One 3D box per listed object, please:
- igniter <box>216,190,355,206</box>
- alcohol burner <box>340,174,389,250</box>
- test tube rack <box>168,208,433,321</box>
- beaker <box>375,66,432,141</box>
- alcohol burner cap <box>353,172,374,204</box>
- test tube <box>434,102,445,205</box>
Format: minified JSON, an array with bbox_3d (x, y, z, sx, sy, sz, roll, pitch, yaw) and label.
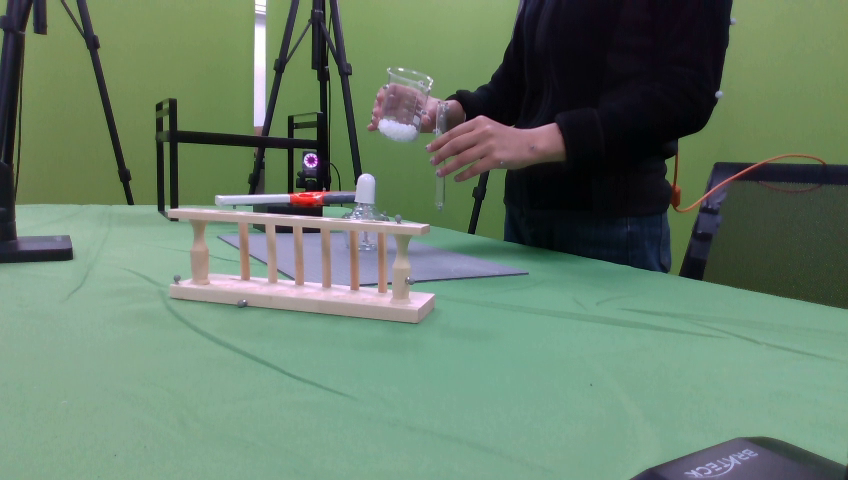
[{"bbox_3d":[-0.248,-0.079,1.151,0.278,0.025,0.057,-4,12,-27],"label":"igniter"},{"bbox_3d":[-0.094,-0.045,0.939,0.078,0.119,0.078,0,7,0],"label":"alcohol burner"},{"bbox_3d":[-0.116,0.017,0.574,0.242,0.085,0.067,4,8,13],"label":"test tube rack"},{"bbox_3d":[-0.033,-0.214,0.957,0.083,0.100,0.074,33,32,32],"label":"beaker"},{"bbox_3d":[-0.092,-0.081,0.935,0.034,0.048,0.034,6,7,0],"label":"alcohol burner cap"},{"bbox_3d":[0.023,-0.127,0.891,0.017,0.150,0.017,1,3,0],"label":"test tube"}]
